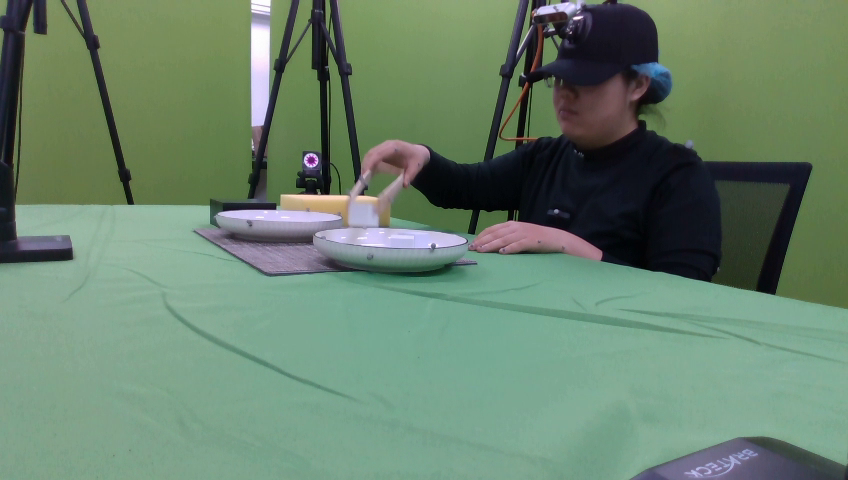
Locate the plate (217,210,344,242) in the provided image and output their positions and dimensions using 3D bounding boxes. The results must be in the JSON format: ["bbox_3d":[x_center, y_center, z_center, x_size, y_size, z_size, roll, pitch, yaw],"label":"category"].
[{"bbox_3d":[-0.241,-0.024,1.026,0.208,0.039,0.207,3,7,0],"label":"plate"}]

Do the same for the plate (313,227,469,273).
[{"bbox_3d":[-0.044,0.012,0.807,0.209,0.038,0.209,2,7,0],"label":"plate"}]

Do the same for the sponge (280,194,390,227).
[{"bbox_3d":[-0.188,-0.063,1.291,0.208,0.061,0.117,-2,9,-35],"label":"sponge"}]

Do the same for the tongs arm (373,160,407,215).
[{"bbox_3d":[-0.054,-0.092,0.991,0.028,0.028,0.387,8,15,2],"label":"tongs arm"}]

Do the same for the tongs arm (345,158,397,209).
[{"bbox_3d":[-0.080,-0.098,0.991,0.051,0.026,0.384,11,15,-3],"label":"tongs arm"}]
